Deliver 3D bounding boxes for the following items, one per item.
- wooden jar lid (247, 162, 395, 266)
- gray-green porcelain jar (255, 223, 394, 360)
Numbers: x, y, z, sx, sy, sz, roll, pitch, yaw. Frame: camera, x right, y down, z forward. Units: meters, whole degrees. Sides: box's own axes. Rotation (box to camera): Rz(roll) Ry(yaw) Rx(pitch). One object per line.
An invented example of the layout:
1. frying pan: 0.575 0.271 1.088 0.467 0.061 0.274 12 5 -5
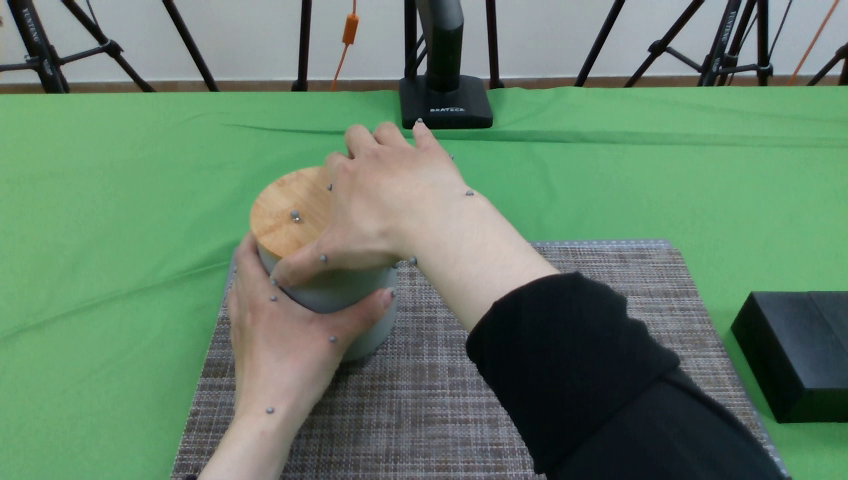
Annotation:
1. wooden jar lid: -0.076 -0.018 0.454 0.108 0.021 0.107 3 46 -3
2. gray-green porcelain jar: -0.077 0.028 0.497 0.106 0.127 0.105 1 43 -1
